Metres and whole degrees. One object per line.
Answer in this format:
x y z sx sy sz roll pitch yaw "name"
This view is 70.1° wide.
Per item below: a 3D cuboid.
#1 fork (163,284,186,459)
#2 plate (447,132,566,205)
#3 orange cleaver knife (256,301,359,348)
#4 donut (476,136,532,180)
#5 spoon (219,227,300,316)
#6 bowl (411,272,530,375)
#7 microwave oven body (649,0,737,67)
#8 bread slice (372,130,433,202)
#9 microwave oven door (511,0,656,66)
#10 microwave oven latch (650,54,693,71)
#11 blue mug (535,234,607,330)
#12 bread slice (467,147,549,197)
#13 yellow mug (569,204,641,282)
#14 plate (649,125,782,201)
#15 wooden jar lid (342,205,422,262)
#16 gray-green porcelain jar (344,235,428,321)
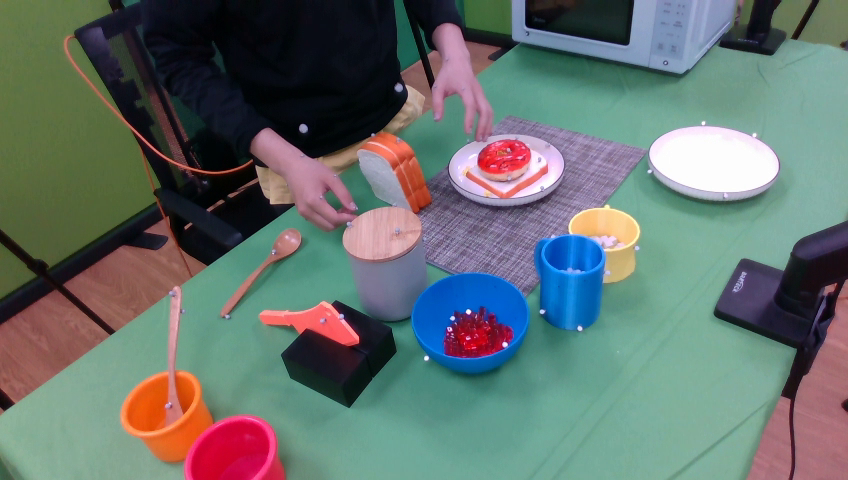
-0.302 0.157 0.733 0.028 0.019 0.207 -3 84 15 "fork"
0.146 -0.124 1.076 0.209 0.038 0.208 -4 41 4 "plate"
-0.160 0.115 0.813 0.210 0.077 0.012 -9 29 48 "orange cleaver knife"
0.140 -0.146 1.058 0.099 0.048 0.098 -7 41 6 "donut"
-0.260 0.046 0.954 0.041 0.021 0.194 27 48 10 "spoon"
0.061 0.120 0.780 0.151 0.077 0.150 -4 40 4 "bowl"
0.475 -0.602 1.411 0.438 0.261 0.327 23 50 32 "microwave oven body"
-0.041 -0.128 1.039 0.106 0.135 0.018 28 63 33 "bread slice"
0.350 -0.539 1.348 0.353 0.245 0.039 24 50 31 "microwave oven door"
0.531 -0.386 1.301 0.078 0.029 0.030 26 51 33 "microwave oven latch"
0.191 0.048 0.824 0.082 0.106 0.115 -26 44 -20 "blue mug"
0.156 -0.127 1.085 0.132 0.019 0.104 -35 48 -23 "bread slice"
0.268 -0.005 0.904 0.099 0.064 0.130 7 41 15 "yellow mug"
0.493 -0.127 1.036 0.207 0.039 0.206 -4 41 4 "plate"
-0.055 -0.005 0.808 0.108 0.021 0.108 -6 40 6 "wooden jar lid"
-0.049 0.042 0.849 0.106 0.127 0.105 -4 41 4 "gray-green porcelain jar"
